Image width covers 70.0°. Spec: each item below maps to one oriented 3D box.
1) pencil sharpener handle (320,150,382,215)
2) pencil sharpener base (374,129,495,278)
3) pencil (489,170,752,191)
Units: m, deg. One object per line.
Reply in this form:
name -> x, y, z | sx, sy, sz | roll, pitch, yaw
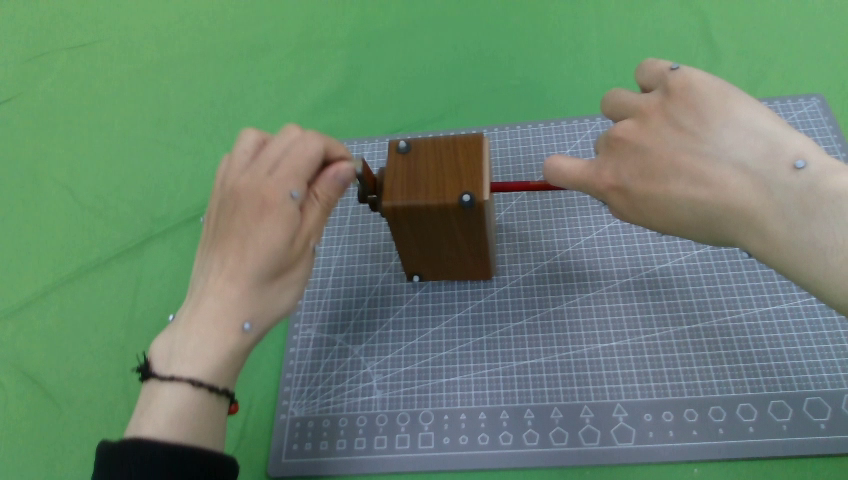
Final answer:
pencil sharpener handle -> -0.046, -0.040, 0.408 | 0.030, 0.068, 0.035 | -2, 68, 8
pencil sharpener base -> 0.011, -0.022, 0.439 | 0.076, 0.108, 0.061 | -2, 58, 8
pencil -> 0.116, -0.038, 0.404 | 0.194, 0.012, 0.012 | -1, 57, 6
